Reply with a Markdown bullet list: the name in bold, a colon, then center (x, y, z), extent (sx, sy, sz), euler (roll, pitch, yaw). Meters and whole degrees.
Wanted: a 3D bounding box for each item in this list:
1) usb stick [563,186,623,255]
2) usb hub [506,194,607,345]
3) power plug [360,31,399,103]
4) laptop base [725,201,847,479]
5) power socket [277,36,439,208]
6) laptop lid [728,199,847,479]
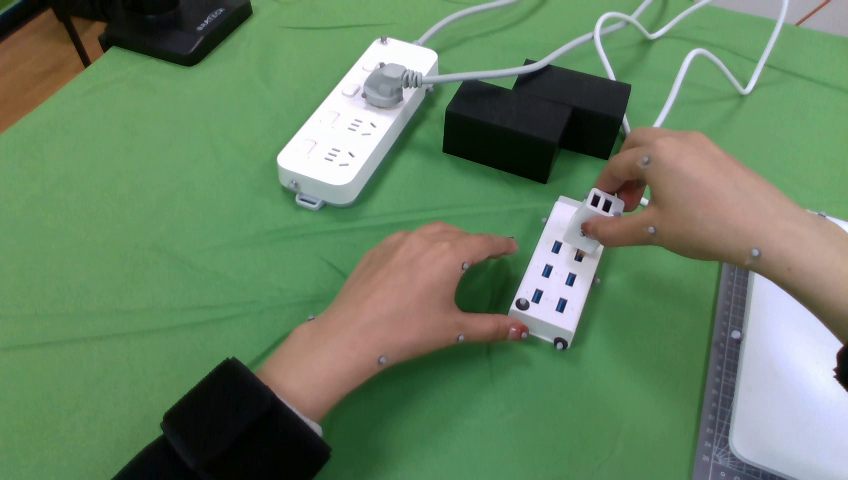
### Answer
- **usb stick**: center (0.120, -0.011, 0.441), extent (0.027, 0.059, 0.021), euler (22, 57, 6)
- **usb hub**: center (0.107, 0.019, 0.468), extent (0.049, 0.025, 0.124), euler (20, 53, 14)
- **power plug**: center (-0.039, -0.153, 0.563), extent (0.035, 0.053, 0.072), euler (13, 45, -5)
- **laptop base**: center (0.396, 0.111, 0.415), extent (0.353, 0.023, 0.234), euler (20, 57, 12)
- **power socket**: center (-0.055, -0.118, 0.562), extent (0.072, 0.033, 0.225), euler (21, 53, 12)
- **laptop lid**: center (0.396, 0.105, 0.404), extent (0.355, 0.013, 0.240), euler (21, 56, 13)
